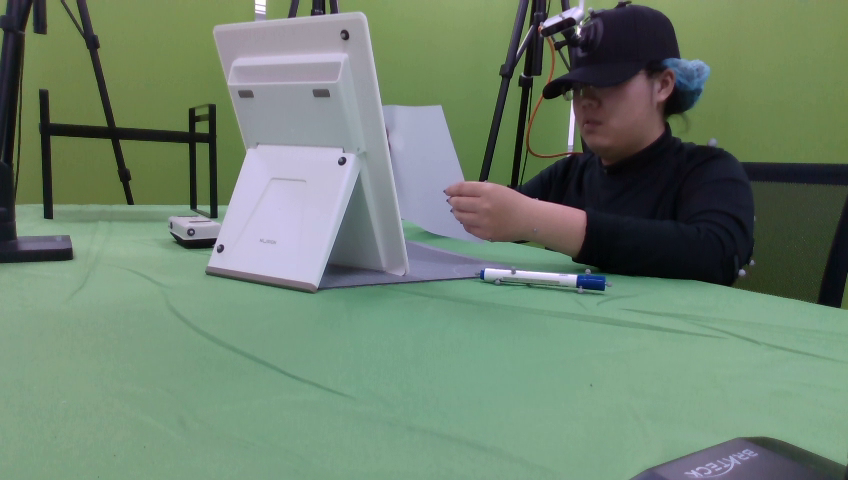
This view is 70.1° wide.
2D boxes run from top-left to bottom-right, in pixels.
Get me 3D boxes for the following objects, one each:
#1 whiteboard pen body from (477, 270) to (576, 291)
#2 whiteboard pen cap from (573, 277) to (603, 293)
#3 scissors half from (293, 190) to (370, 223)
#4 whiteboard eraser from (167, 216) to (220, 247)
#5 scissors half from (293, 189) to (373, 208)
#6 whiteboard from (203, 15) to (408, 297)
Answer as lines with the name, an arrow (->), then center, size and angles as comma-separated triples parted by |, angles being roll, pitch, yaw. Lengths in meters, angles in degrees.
whiteboard pen body -> 0.131, 0.048, 0.706 | 0.140, 0.017, 0.017 | 4, 7, 18
whiteboard pen cap -> 0.186, 0.051, 0.687 | 0.033, 0.018, 0.018 | 3, 7, 18
scissors half -> -0.205, -0.077, 1.338 | 0.175, 0.040, 0.013 | 22, 12, -8
whiteboard eraser -> -0.350, -0.013, 0.920 | 0.056, 0.042, 0.112 | 0, 7, -35
scissors half -> -0.201, -0.096, 1.332 | 0.175, 0.040, 0.013 | 5, 19, -4
whiteboard -> -0.166, -0.072, 0.668 | 0.216, 0.305, 0.144 | 8, 30, 30
